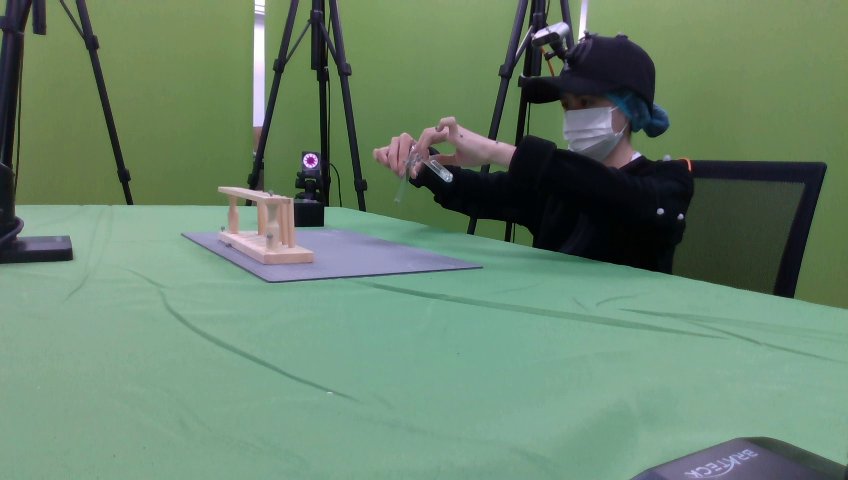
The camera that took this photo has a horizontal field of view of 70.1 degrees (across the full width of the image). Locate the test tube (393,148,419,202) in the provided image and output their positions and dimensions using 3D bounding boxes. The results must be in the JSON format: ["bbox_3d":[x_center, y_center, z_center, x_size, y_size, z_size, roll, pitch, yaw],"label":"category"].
[{"bbox_3d":[-0.035,-0.114,1.084,0.017,0.017,0.150,0,-30,-17],"label":"test tube"}]

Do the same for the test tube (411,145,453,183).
[{"bbox_3d":[0.011,-0.123,0.962,0.017,0.017,0.150,-1,26,-24],"label":"test tube"}]

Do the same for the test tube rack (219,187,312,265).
[{"bbox_3d":[-0.235,-0.027,0.872,0.067,0.085,0.241,-2,8,-31],"label":"test tube rack"}]
